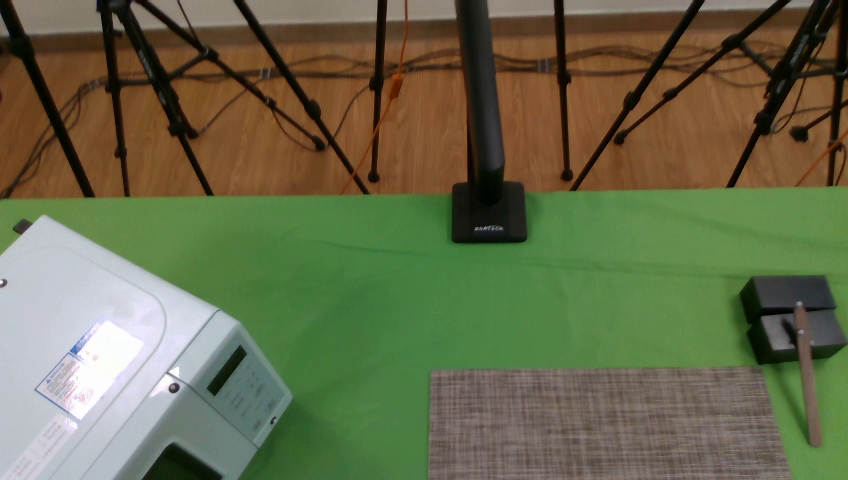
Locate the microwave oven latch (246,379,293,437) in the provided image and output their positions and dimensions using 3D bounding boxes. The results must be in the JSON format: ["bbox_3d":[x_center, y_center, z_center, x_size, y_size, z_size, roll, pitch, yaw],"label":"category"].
[{"bbox_3d":[-0.205,0.217,0.797,0.030,0.030,0.079,26,63,18],"label":"microwave oven latch"}]

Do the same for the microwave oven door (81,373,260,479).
[{"bbox_3d":[-0.320,0.326,0.614,0.039,0.246,0.354,23,62,18],"label":"microwave oven door"}]

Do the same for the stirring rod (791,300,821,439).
[{"bbox_3d":[0.491,0.165,0.779,0.014,0.006,0.175,-5,82,13],"label":"stirring rod"}]

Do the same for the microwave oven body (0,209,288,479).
[{"bbox_3d":[-0.427,0.242,0.681,0.324,0.262,0.440,24,63,17],"label":"microwave oven body"}]
